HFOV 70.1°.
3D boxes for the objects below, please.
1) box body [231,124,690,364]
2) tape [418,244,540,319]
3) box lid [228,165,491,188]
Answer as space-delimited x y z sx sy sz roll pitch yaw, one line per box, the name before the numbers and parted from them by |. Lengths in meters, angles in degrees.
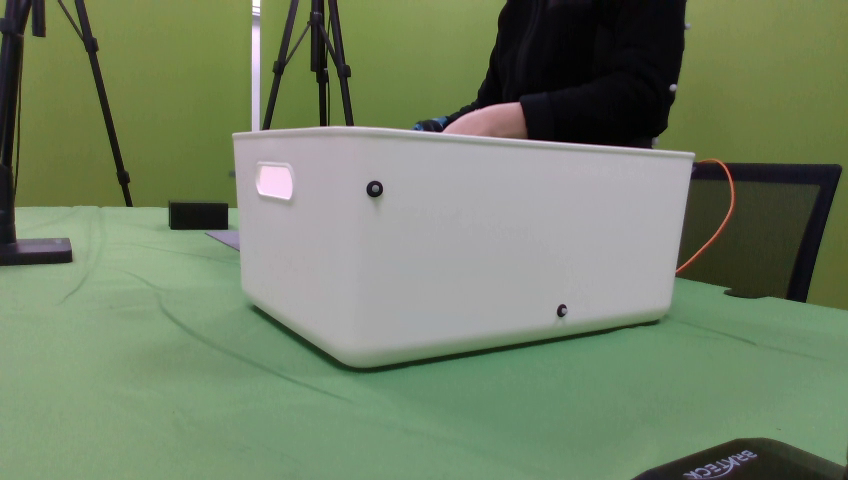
box body | 0.031 -0.013 0.563 0.366 0.160 0.253 -3 8 -33
tape | 0.051 0.036 0.570 0.117 0.052 0.117 3 7 0
box lid | -0.108 -0.097 0.962 0.373 0.015 0.262 1 4 -27
